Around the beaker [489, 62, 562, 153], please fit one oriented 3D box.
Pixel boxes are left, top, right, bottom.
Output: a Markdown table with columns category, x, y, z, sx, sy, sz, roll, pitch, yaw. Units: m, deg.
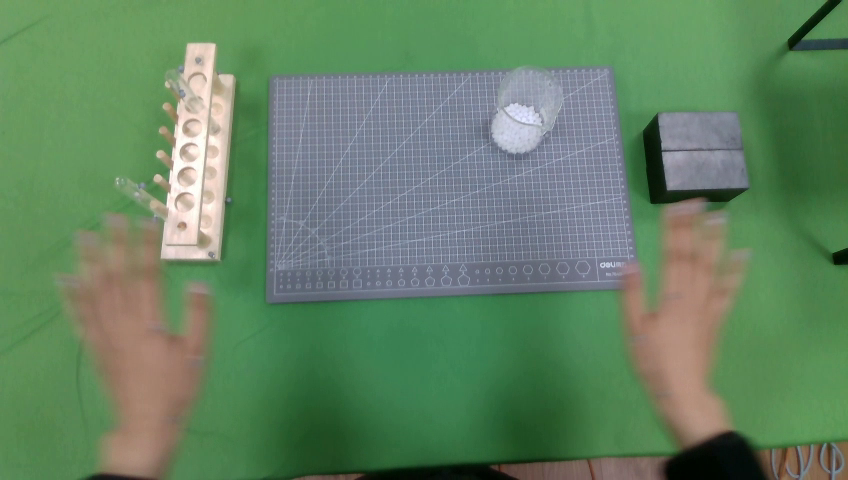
| category | x | y | z | sx | sy | sz | roll | pitch | yaw |
| --- | --- | --- | --- | --- | --- | --- | --- | --- | --- |
| beaker | 0.120 | -0.152 | 0.729 | 0.074 | 0.100 | 0.083 | -30 | 79 | -8 |

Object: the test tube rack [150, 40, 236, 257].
| category | x | y | z | sx | sy | sz | roll | pitch | yaw |
| --- | --- | --- | --- | --- | --- | --- | --- | --- | --- |
| test tube rack | -0.276 | -0.106 | 0.716 | 0.067 | 0.085 | 0.241 | 1 | 76 | -1 |

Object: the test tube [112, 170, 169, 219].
| category | x | y | z | sx | sy | sz | roll | pitch | yaw |
| --- | --- | --- | --- | --- | --- | --- | --- | --- | --- |
| test tube | -0.297 | -0.045 | 0.654 | 0.017 | 0.151 | 0.017 | 0 | 77 | -2 |

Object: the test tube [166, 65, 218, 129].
| category | x | y | z | sx | sy | sz | roll | pitch | yaw |
| --- | --- | --- | --- | --- | --- | --- | --- | --- | --- |
| test tube | -0.257 | -0.155 | 0.678 | 0.017 | 0.150 | 0.017 | 1 | 80 | -4 |
